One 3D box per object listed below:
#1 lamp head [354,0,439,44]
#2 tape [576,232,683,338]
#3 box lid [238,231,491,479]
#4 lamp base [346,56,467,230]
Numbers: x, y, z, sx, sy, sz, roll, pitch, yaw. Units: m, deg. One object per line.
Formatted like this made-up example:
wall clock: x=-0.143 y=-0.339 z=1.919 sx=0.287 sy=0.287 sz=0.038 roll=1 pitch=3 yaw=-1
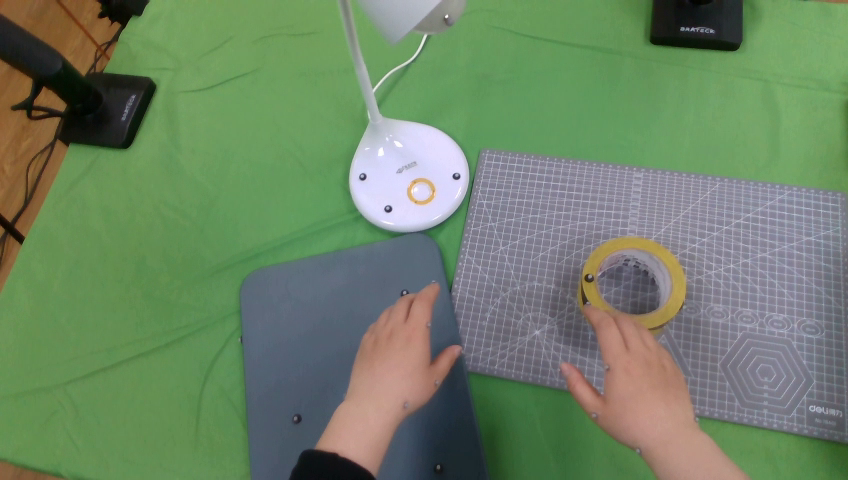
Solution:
lamp head: x=-0.028 y=-0.228 z=0.452 sx=0.123 sy=0.112 sz=0.112 roll=42 pitch=76 yaw=-14
tape: x=0.232 y=0.050 z=0.694 sx=0.117 sy=0.053 sz=0.116 roll=-2 pitch=67 yaw=5
box lid: x=-0.079 y=0.174 z=0.706 sx=0.263 sy=0.015 sz=0.368 roll=-13 pitch=67 yaw=2
lamp base: x=-0.041 y=-0.124 z=0.733 sx=0.160 sy=0.182 sz=0.177 roll=-38 pitch=65 yaw=-9
